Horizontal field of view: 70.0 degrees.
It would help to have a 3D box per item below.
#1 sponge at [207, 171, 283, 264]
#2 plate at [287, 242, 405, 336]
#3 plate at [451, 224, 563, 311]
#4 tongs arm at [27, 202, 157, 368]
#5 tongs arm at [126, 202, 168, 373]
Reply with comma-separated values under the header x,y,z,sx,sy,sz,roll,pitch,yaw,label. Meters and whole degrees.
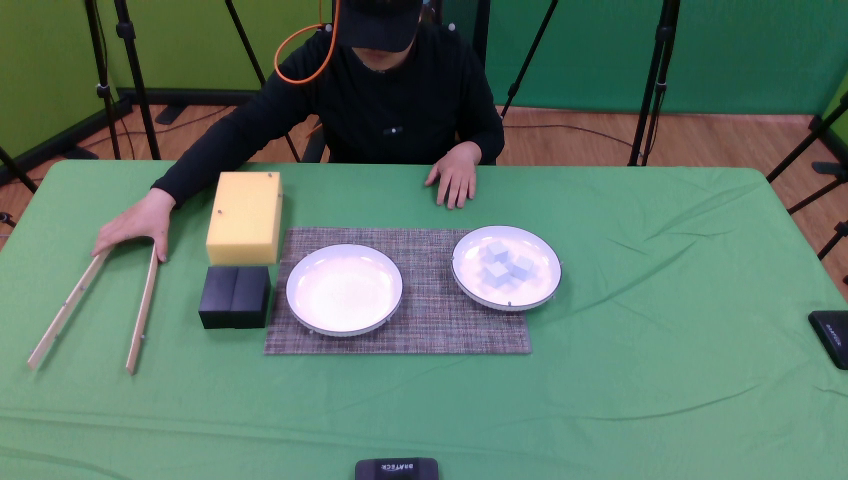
x,y,z,sx,sy,sz,roll,pitch,yaw,label
-0.346,-0.048,1.191,0.118,0.061,0.205,-2,46,-6,sponge
-0.138,0.090,1.085,0.208,0.039,0.206,2,46,-2,plate
0.154,0.053,1.140,0.209,0.038,0.208,2,47,-2,plate
-0.579,0.064,1.084,0.051,0.026,0.382,5,45,1,tongs arm
-0.497,0.069,1.089,0.028,0.028,0.385,-7,46,-6,tongs arm
